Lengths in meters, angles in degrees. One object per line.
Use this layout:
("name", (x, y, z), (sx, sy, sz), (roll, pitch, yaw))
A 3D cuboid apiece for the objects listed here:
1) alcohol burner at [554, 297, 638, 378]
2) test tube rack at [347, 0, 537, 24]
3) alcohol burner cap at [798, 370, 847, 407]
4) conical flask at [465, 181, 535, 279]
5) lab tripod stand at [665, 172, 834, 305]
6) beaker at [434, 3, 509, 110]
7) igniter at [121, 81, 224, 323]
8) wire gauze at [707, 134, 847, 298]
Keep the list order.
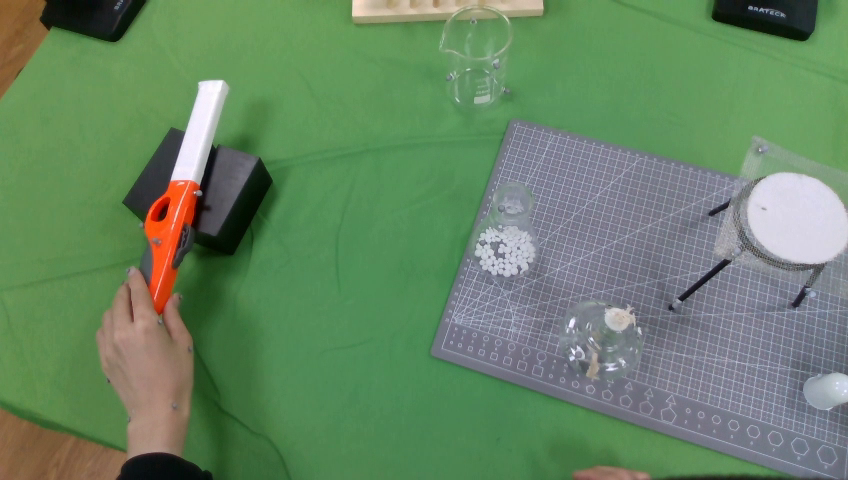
("alcohol burner", (0.162, 0.085, 0.558), (0.078, 0.120, 0.077), (0, 66, 0))
("test tube rack", (0.021, -0.329, 0.753), (0.242, 0.086, 0.066), (-2, 67, 1))
("alcohol burner cap", (0.379, 0.137, 0.569), (0.034, 0.048, 0.033), (-1, 68, 2))
("conical flask", (0.079, -0.014, 0.597), (0.075, 0.123, 0.075), (-1, 67, 2))
("lab tripod stand", (0.311, 0.007, 0.575), (0.148, 0.132, 0.147), (0, 66, 0))
("beaker", (0.052, -0.203, 0.692), (0.084, 0.101, 0.073), (-23, 68, -7))
("igniter", (-0.255, -0.048, 0.624), (0.057, 0.025, 0.274), (1, 66, 14))
("wire gauze", (0.317, -0.021, 0.513), (0.121, 0.011, 0.124), (22, 70, 9))
